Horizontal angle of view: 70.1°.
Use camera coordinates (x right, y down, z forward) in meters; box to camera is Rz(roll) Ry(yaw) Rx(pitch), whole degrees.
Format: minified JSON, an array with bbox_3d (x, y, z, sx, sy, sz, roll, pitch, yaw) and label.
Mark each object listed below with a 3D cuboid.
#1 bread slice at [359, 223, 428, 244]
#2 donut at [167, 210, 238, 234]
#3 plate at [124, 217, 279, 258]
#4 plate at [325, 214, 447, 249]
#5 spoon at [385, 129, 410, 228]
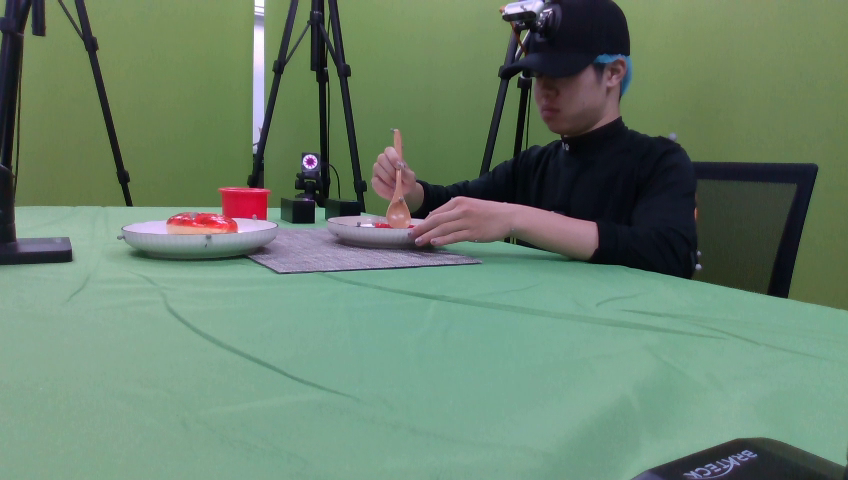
[{"bbox_3d":[-0.062,-0.012,1.035,0.105,0.019,0.131,0,10,-19],"label":"bread slice"},{"bbox_3d":[-0.321,-0.017,0.882,0.099,0.048,0.099,3,6,0],"label":"donut"},{"bbox_3d":[-0.315,-0.004,0.871,0.208,0.039,0.207,1,8,0],"label":"plate"},{"bbox_3d":[-0.066,-0.015,1.035,0.209,0.038,0.209,3,8,0],"label":"plate"},{"bbox_3d":[-0.043,-0.104,1.009,0.042,0.193,0.021,3,-20,-10],"label":"spoon"}]
